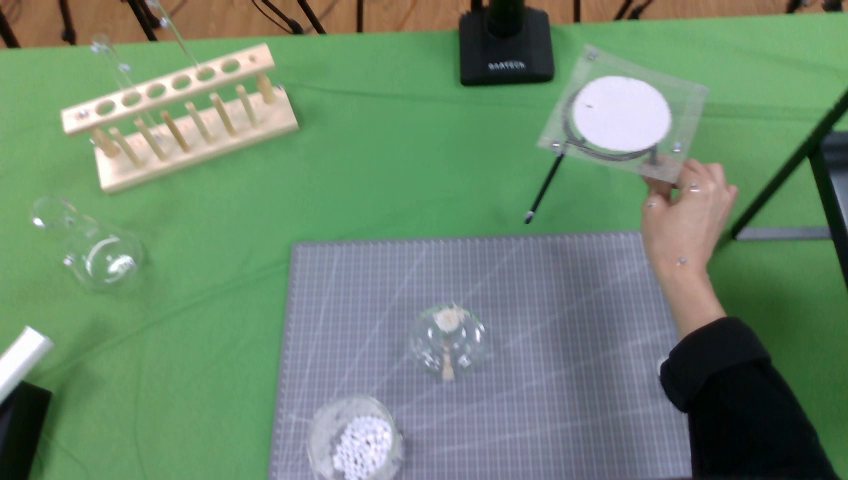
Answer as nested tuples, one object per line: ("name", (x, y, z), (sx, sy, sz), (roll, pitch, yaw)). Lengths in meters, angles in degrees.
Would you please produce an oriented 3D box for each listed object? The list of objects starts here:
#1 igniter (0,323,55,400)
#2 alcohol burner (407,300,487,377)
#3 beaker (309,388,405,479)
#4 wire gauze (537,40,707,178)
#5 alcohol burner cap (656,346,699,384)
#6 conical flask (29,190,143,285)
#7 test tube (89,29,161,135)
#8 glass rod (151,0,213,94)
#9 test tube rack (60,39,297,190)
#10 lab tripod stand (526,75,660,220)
("igniter", (-0.449, 0.195, 0.549), (0.057, 0.025, 0.275), (24, 67, 24))
("alcohol burner", (0.022, 0.088, 0.575), (0.078, 0.120, 0.077), (0, 63, 1))
("beaker", (-0.057, 0.184, 0.542), (0.073, 0.101, 0.083), (26, 69, 16))
("wire gauze", (0.180, -0.119, 0.543), (0.121, 0.011, 0.124), (22, 66, 12))
("alcohol burner cap", (0.248, 0.118, 0.587), (0.034, 0.048, 0.033), (-1, 65, 3))
("conical flask", (-0.360, -0.007, 0.639), (0.075, 0.123, 0.074), (-1, 64, 3))
("test tube", (-0.331, -0.172, 0.681), (0.017, 0.151, 0.017), (-1, 58, 2))
("glass rod", (-0.266, -0.210, 0.676), (0.008, 0.201, 0.008), (-5, 58, 8))
("test tube rack", (-0.285, -0.148, 0.722), (0.242, 0.086, 0.066), (-21, 65, -7))
("lab tripod stand", (0.175, -0.085, 0.602), (0.148, 0.132, 0.147), (0, 62, 1))
